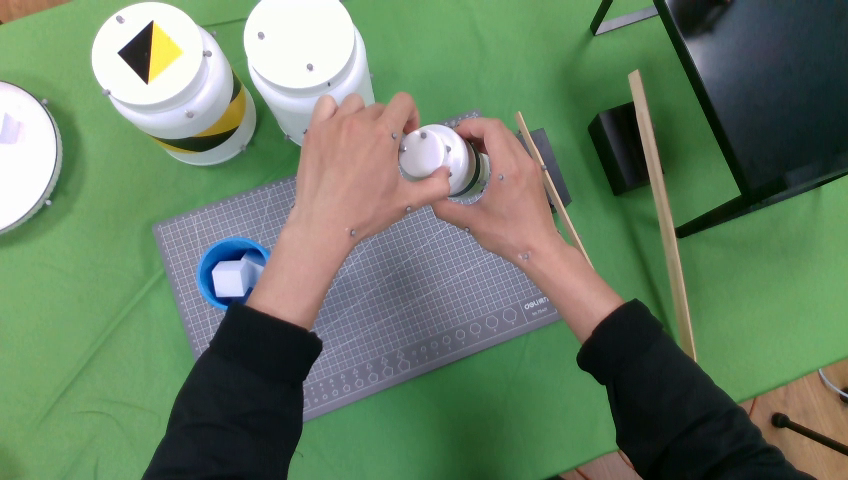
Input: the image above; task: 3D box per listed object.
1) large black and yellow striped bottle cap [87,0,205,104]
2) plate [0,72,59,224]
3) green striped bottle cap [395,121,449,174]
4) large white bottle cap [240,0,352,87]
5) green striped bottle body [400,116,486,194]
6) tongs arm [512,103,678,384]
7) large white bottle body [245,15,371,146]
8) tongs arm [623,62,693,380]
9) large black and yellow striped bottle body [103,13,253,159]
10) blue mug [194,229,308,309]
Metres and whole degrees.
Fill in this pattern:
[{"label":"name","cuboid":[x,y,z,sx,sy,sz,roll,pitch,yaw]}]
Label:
[{"label":"large black and yellow striped bottle cap","cuboid":[-0.287,-0.198,0.627,0.115,0.019,0.114,0,82,-2]},{"label":"plate","cuboid":[-0.563,-0.111,0.766,0.208,0.039,0.207,0,81,-1]},{"label":"green striped bottle cap","cuboid":[-0.002,-0.080,0.523,0.044,0.020,0.044,0,90,20]},{"label":"large white bottle cap","cuboid":[-0.133,-0.216,0.632,0.115,0.018,0.114,0,80,-1]},{"label":"green striped bottle body","cuboid":[0.016,-0.080,0.578,0.063,0.120,0.063,0,89,18]},{"label":"tongs arm","cuboid":[0.206,0.006,0.729,0.051,0.026,0.385,-25,94,-8]},{"label":"large white bottle body","cuboid":[-0.133,-0.201,0.715,0.131,0.185,0.130,0,80,-1]},{"label":"tongs arm","cuboid":[0.283,-0.022,0.738,0.028,0.027,0.387,-12,93,-12]},{"label":"large black and yellow striped bottle body","cuboid":[-0.288,-0.182,0.709,0.131,0.184,0.130,0,80,-1]},{"label":"blue mug","cuboid":[-0.194,0.034,0.714,0.116,0.106,0.082,-13,81,-4]}]
